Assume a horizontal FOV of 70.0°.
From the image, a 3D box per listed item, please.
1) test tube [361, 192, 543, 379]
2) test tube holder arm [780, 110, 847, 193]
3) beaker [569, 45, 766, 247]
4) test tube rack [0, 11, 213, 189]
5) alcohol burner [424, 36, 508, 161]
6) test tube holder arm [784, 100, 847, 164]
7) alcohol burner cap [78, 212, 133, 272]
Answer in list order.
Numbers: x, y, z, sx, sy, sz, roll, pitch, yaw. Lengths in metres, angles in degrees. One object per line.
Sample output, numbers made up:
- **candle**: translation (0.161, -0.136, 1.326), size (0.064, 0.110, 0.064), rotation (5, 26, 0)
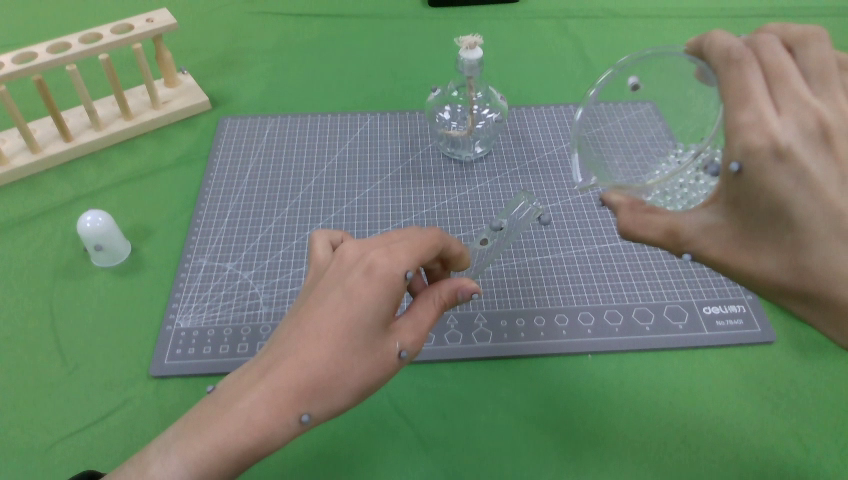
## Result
- **test tube**: translation (0.010, 0.030, 0.339), size (0.017, 0.150, 0.017), rotation (33, 26, -18)
- **test tube holder arm**: translation (0.331, -0.052, 0.477), size (0.015, 0.013, 0.176), rotation (1, 45, -7)
- **beaker**: translation (0.132, -0.041, 0.324), size (0.084, 0.101, 0.073), rotation (-46, 47, 17)
- **test tube rack**: translation (-0.339, -0.131, 0.574), size (0.242, 0.086, 0.066), rotation (-27, 53, -22)
- **alcohol burner**: translation (0.039, -0.130, 0.548), size (0.078, 0.120, 0.077), rotation (1, 49, -1)
- **test tube holder arm**: translation (0.329, -0.088, 0.504), size (0.015, 0.010, 0.087), rotation (2, 46, -7)
- **alcohol burner cap**: translation (-0.259, -0.001, 0.487), size (0.034, 0.048, 0.033), rotation (0, 48, 0)
